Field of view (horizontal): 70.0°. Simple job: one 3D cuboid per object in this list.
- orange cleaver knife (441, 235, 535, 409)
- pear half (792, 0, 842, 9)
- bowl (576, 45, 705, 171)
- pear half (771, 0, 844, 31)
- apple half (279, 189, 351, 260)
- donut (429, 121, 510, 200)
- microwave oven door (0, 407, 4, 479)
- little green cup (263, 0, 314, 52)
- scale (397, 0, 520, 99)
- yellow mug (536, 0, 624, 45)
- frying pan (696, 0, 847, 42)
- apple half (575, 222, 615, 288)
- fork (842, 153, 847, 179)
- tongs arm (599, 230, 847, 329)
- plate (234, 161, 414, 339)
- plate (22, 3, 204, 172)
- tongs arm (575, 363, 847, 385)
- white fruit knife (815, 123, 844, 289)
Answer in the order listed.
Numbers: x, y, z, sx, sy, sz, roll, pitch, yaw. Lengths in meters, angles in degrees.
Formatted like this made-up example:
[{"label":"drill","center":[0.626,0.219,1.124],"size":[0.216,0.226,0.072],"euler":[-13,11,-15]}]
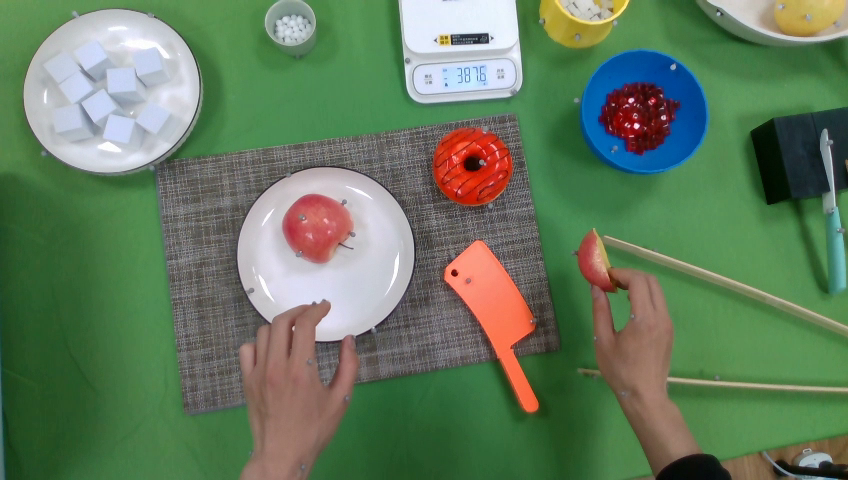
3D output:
[{"label":"orange cleaver knife","center":[0.093,0.096,0.726],"size":[0.077,0.012,0.210],"euler":[-27,84,-11]},{"label":"pear half","center":[0.499,-0.328,0.764],"size":[0.070,0.088,0.031],"euler":[26,84,4]},{"label":"bowl","center":[0.252,-0.150,0.740],"size":[0.151,0.077,0.151],"euler":[0,83,-3]},{"label":"pear half","center":[0.481,-0.299,0.750],"size":[0.076,0.110,0.056],"euler":[27,83,5]},{"label":"apple half","center":[-0.129,-0.023,0.705],"size":[0.074,0.053,0.081],"euler":[43,82,6]},{"label":"donut","center":[0.055,-0.097,0.736],"size":[0.099,0.048,0.099],"euler":[0,84,-1]},{"label":"microwave oven door","center":[-0.489,0.139,0.564],"size":[0.039,0.244,0.354],"euler":[-7,83,-3]},{"label":"little green cup","center":[-0.165,-0.266,0.753],"size":[0.061,0.039,0.061],"euler":[0,82,-2]},{"label":"scale","center":[0.042,-0.282,0.769],"size":[0.149,0.031,0.200],"euler":[-5,84,-3]},{"label":"yellow mug","center":[0.187,-0.319,0.763],"size":[0.100,0.064,0.130],"euler":[-42,86,-7]},{"label":"frying pan","center":[0.519,-0.306,0.760],"size":[0.307,0.103,0.485],"euler":[-36,78,-6]},{"label":"apple half","center":[0.184,0.020,0.669],"size":[0.033,0.081,0.081],"euler":[-20,83,22]},{"label":"fork","center":[0.546,-0.008,0.744],"size":[0.028,0.018,0.208],"euler":[-19,99,-7]},{"label":"tongs arm","center":[0.392,0.063,0.746],"size":[0.388,0.028,0.028],"euler":[21,74,0]},{"label":"plate","center":[-0.116,0.011,0.717],"size":[0.209,0.038,0.208],"euler":[0,83,-3]},{"label":"plate","center":[-0.368,-0.180,0.732],"size":[0.208,0.039,0.207],"euler":[0,83,-3]},{"label":"tongs arm","center":[0.375,0.148,0.730],"size":[0.385,0.026,0.050],"euler":[6,78,-3]},{"label":"white fruit knife","center":[0.491,-0.039,0.737],"size":[0.016,0.027,0.208],"euler":[-11,98,-4]}]
